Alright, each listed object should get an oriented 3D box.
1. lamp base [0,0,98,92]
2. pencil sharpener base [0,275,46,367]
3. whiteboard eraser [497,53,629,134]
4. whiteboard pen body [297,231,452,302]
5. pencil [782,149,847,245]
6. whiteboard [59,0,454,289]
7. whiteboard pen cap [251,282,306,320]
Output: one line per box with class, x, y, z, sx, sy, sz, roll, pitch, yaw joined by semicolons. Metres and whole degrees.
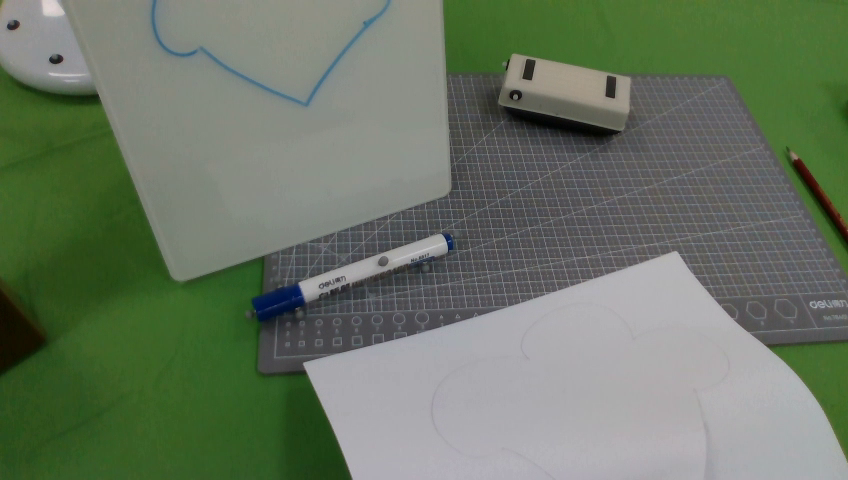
lamp base;-0.301;-0.240;0.486;0.178;0.182;0.160;31;56;18
pencil sharpener base;-0.277;0.035;0.334;0.061;0.108;0.076;38;59;19
whiteboard eraser;0.124;-0.130;0.543;0.112;0.042;0.055;13;54;3
whiteboard pen body;-0.044;0.021;0.421;0.141;0.017;0.017;-19;58;-19
pencil;0.351;-0.010;0.509;0.012;0.012;0.192;-5;53;-10
whiteboard;-0.113;-0.158;0.409;0.217;0.308;0.142;-19;39;-19
whiteboard pen cap;-0.096;0.040;0.402;0.033;0.018;0.018;-20;59;-19
